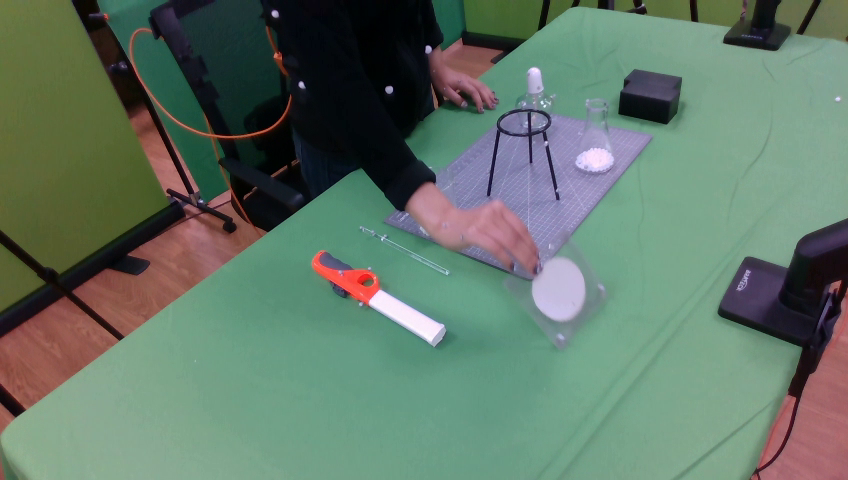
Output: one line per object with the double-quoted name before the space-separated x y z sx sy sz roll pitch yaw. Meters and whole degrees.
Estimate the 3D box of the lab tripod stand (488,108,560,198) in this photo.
"lab tripod stand" 0.173 -0.150 1.037 0.148 0.132 0.147 -7 38 6

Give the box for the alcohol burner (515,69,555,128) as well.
"alcohol burner" 0.221 -0.285 1.203 0.078 0.119 0.077 -4 39 4

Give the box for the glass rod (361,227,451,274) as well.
"glass rod" -0.033 0.015 0.985 0.198 0.008 0.008 26 52 34

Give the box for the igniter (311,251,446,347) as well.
"igniter" -0.078 0.081 0.899 0.274 0.025 0.057 27 63 35

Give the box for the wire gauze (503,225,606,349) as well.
"wire gauze" 0.181 0.062 0.811 0.125 0.122 0.011 -41 12 -22

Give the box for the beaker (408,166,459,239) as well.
"beaker" 0.018 -0.057 0.984 0.074 0.101 0.083 -6 41 5

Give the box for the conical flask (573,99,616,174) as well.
"conical flask" 0.302 -0.184 1.061 0.075 0.122 0.075 -5 40 5

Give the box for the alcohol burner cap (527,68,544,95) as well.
"alcohol burner cap" 0.216 -0.311 1.179 0.034 0.048 0.033 -10 41 9
